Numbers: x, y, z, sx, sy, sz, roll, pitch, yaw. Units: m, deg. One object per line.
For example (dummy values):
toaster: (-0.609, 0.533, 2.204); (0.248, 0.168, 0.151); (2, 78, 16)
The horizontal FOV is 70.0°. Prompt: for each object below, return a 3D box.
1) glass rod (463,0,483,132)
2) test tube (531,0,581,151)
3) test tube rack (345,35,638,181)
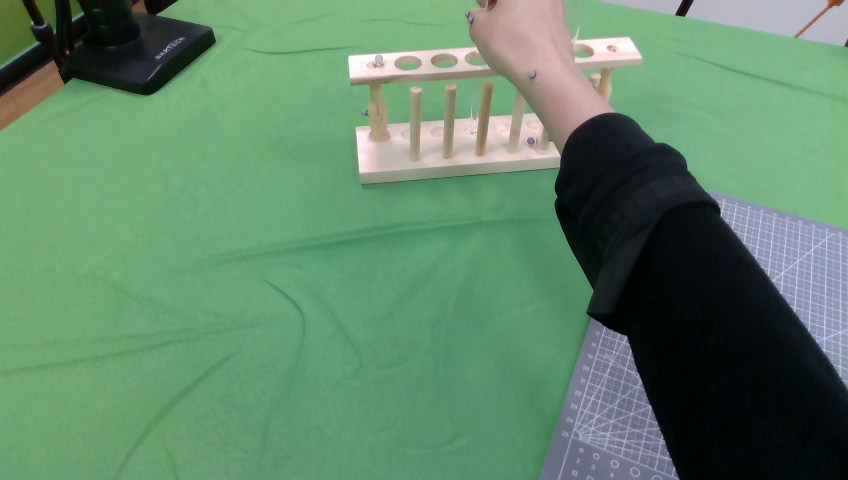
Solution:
glass rod: (0.040, -0.163, 0.478); (0.008, 0.201, 0.008); (1, 51, -1)
test tube: (0.105, -0.135, 0.482); (0.017, 0.151, 0.017); (1, 46, -1)
test tube rack: (0.058, -0.114, 0.524); (0.243, 0.086, 0.066); (-6, 48, -5)
